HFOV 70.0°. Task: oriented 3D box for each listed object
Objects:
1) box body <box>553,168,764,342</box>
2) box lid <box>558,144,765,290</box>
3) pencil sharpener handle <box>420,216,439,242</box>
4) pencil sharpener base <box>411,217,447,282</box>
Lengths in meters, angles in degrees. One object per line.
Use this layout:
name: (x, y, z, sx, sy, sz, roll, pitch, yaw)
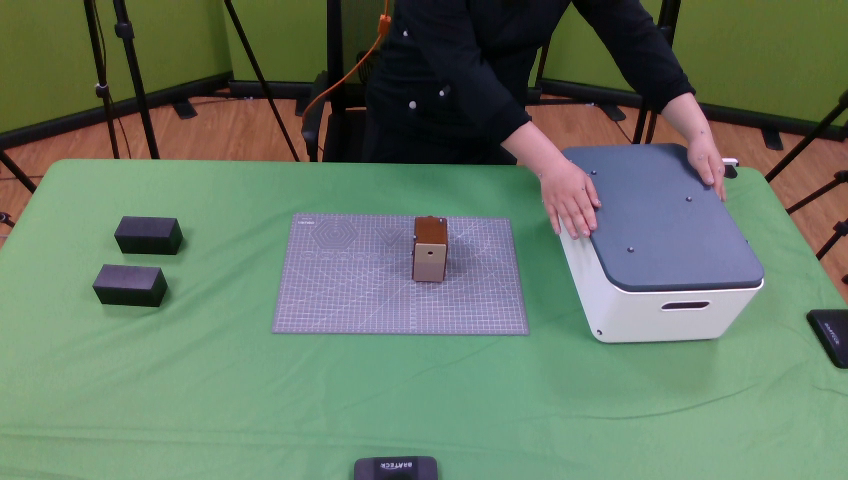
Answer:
box body: (0.404, 0.006, 1.125, 0.254, 0.161, 0.361, -2, 46, -5)
box lid: (0.403, -0.054, 1.073, 0.263, 0.015, 0.369, -2, 45, -5)
pencil sharpener handle: (0.007, -0.028, 1.145, 0.036, 0.068, 0.030, 6, 45, -7)
pencil sharpener base: (0.009, 0.017, 1.118, 0.061, 0.107, 0.076, 2, 45, -2)
